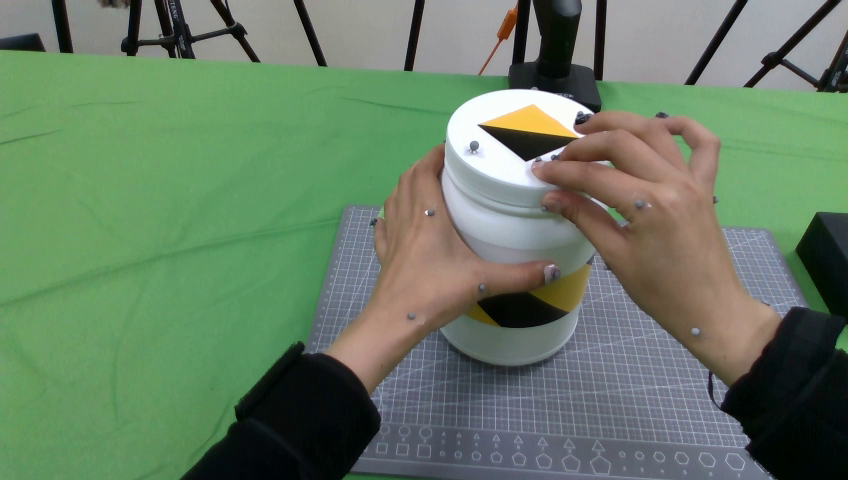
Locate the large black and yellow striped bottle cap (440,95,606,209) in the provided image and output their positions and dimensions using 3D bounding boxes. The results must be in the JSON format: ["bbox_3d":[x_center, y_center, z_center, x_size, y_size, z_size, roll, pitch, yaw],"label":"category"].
[{"bbox_3d":[0.069,-0.065,0.424,0.115,0.019,0.114,3,45,-2],"label":"large black and yellow striped bottle cap"}]

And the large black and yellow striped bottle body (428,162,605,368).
[{"bbox_3d":[0.069,-0.001,0.484,0.131,0.185,0.129,1,42,0],"label":"large black and yellow striped bottle body"}]
